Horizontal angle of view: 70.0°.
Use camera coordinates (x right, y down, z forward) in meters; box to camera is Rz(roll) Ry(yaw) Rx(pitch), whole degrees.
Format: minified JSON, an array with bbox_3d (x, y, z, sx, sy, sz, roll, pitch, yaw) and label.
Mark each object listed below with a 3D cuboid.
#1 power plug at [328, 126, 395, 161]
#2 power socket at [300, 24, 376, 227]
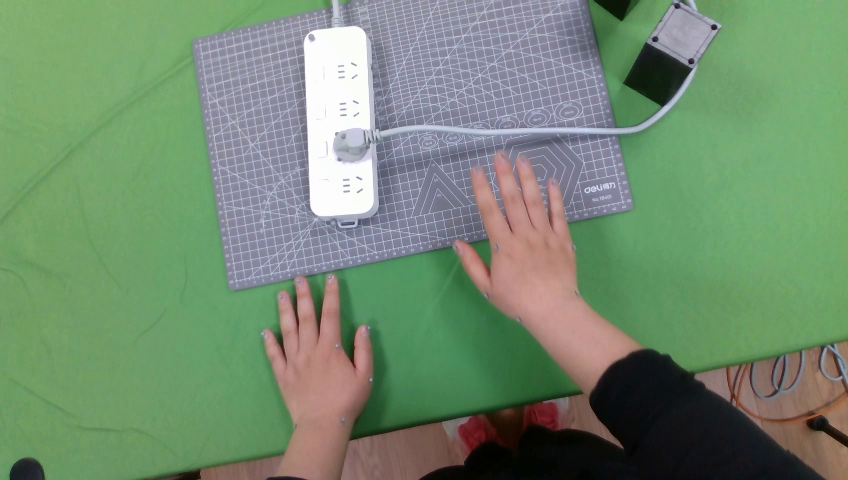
[{"bbox_3d":[-0.065,-0.100,0.642,0.072,0.053,0.035,6,85,4],"label":"power plug"},{"bbox_3d":[-0.095,-0.128,0.666,0.072,0.033,0.226,-4,84,5],"label":"power socket"}]
